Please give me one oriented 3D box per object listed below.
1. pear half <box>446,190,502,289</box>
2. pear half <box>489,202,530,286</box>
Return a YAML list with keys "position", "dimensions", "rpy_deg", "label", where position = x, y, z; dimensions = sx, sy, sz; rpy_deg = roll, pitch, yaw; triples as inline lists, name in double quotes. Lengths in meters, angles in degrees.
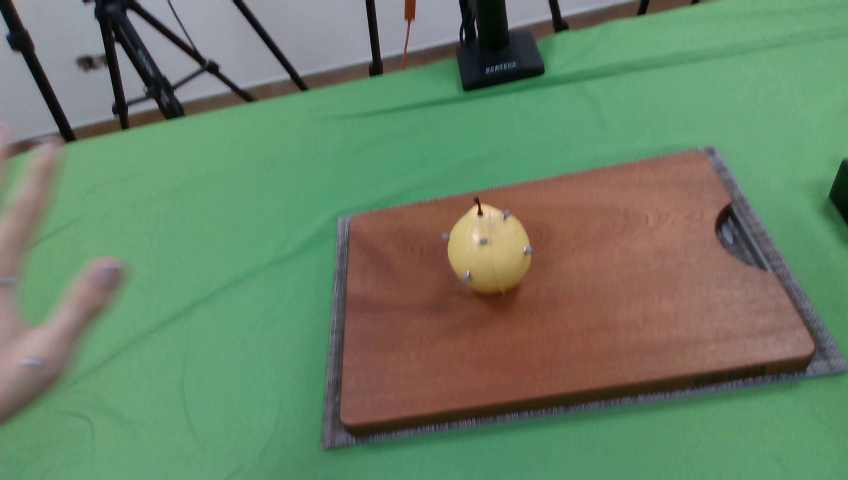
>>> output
- position: [0.045, -0.005, 0.562]
  dimensions: [0.056, 0.111, 0.075]
  rpy_deg: [-3, 44, 14]
  label: "pear half"
- position: [0.082, 0.001, 0.560]
  dimensions: [0.031, 0.089, 0.070]
  rpy_deg: [-5, 41, 14]
  label: "pear half"
